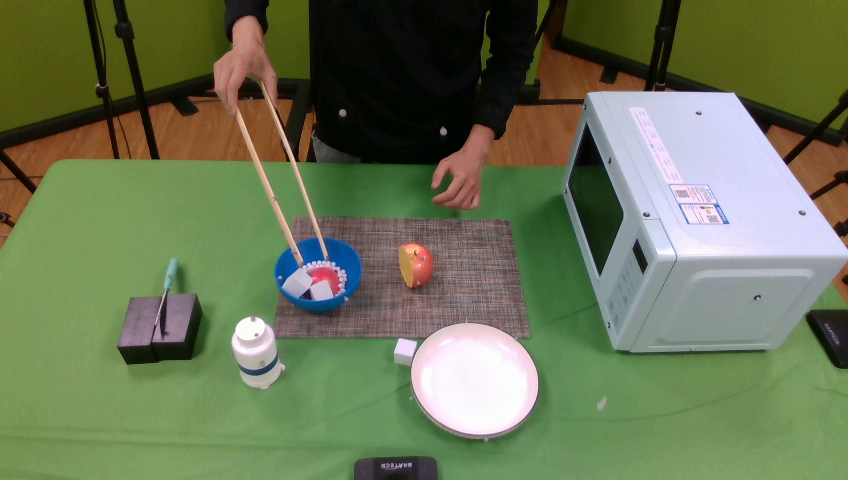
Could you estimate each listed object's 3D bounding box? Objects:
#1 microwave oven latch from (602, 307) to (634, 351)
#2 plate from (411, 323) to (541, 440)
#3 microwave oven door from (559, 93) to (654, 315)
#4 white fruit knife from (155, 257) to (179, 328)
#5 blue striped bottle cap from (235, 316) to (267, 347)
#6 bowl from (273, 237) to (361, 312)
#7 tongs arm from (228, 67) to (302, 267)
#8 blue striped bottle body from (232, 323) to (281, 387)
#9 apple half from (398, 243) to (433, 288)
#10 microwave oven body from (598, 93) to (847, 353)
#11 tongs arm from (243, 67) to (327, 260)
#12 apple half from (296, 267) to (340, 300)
[{"bbox_3d":[0.332,0.153,1.043,0.030,0.029,0.078,-1,45,-4],"label":"microwave oven latch"},{"bbox_3d":[0.082,0.228,0.976,0.208,0.039,0.206,2,45,-2],"label":"plate"},{"bbox_3d":[0.327,-0.074,1.123,0.039,0.245,0.353,-1,46,-5],"label":"microwave oven door"},{"bbox_3d":[-0.440,0.085,1.037,0.016,0.027,0.206,10,26,-19],"label":"white fruit knife"},{"bbox_3d":[-0.259,0.136,0.907,0.044,0.021,0.044,2,44,-2],"label":"blue striped bottle cap"},{"bbox_3d":[-0.186,0.074,1.069,0.151,0.077,0.150,3,46,-2],"label":"bowl"},{"bbox_3d":[-0.256,-0.130,1.000,0.051,0.026,0.383,-21,70,-21],"label":"tongs arm"},{"bbox_3d":[-0.262,0.171,0.944,0.063,0.121,0.062,2,46,-2],"label":"blue striped bottle body"},{"bbox_3d":[-0.012,0.047,1.115,0.053,0.075,0.080,-11,44,-20],"label":"apple half"},{"bbox_3d":[0.475,-0.041,1.109,0.326,0.261,0.438,-1,45,-4],"label":"microwave oven body"},{"bbox_3d":[-0.231,-0.137,1.010,0.028,0.028,0.385,-19,70,-17],"label":"tongs arm"},{"bbox_3d":[-0.187,0.070,1.067,0.081,0.033,0.081,3,47,-3],"label":"apple half"}]
